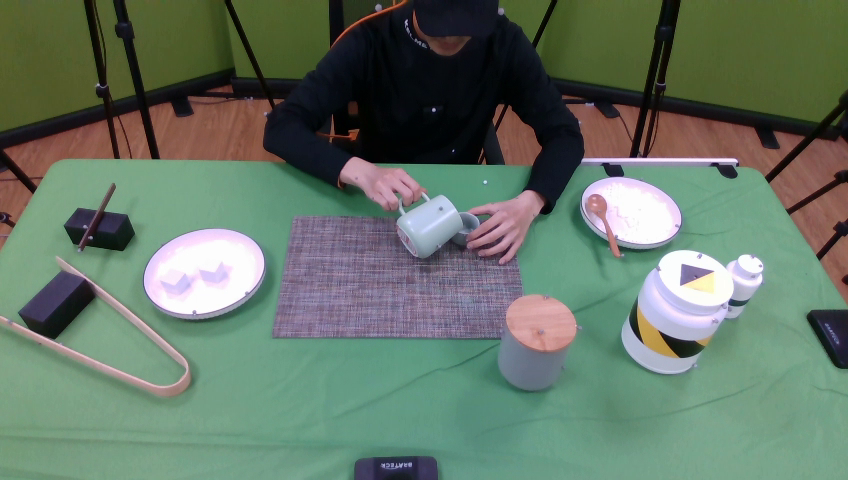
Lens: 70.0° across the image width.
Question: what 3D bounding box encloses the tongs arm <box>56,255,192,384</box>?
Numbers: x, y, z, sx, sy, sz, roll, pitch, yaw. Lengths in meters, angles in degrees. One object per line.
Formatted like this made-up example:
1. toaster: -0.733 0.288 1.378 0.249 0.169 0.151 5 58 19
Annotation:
1. tongs arm: -0.517 0.126 1.033 0.386 0.028 0.028 30 43 23

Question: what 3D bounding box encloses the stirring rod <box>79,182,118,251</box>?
1. stirring rod: -0.605 -0.047 1.130 0.006 0.014 0.175 0 47 1

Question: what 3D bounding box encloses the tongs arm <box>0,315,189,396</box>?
1. tongs arm: -0.555 0.170 0.981 0.384 0.026 0.050 21 43 14

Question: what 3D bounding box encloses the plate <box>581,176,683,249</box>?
1. plate: 0.430 -0.054 1.267 0.209 0.038 0.208 2 46 -2

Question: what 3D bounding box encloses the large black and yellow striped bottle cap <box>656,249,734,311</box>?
1. large black and yellow striped bottle cap: 0.419 0.061 0.938 0.115 0.019 0.114 2 47 -2

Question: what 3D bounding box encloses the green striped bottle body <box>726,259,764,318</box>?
1. green striped bottle body: 0.563 0.081 1.089 0.063 0.120 0.063 2 46 -2

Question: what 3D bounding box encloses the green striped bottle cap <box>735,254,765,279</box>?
1. green striped bottle cap: 0.566 0.046 1.051 0.044 0.020 0.044 0 45 0

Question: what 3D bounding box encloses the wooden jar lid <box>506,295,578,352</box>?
1. wooden jar lid: 0.179 0.130 0.925 0.108 0.021 0.107 2 43 -2

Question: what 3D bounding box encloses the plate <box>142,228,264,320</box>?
1. plate: -0.394 0.064 1.095 0.208 0.039 0.206 2 46 -2

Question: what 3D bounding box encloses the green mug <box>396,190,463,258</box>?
1. green mug: -0.001 -0.038 1.141 0.105 0.093 0.125 -35 75 -13

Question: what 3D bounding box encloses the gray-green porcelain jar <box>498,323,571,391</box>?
1. gray-green porcelain jar: 0.176 0.172 0.971 0.106 0.127 0.105 2 46 -2

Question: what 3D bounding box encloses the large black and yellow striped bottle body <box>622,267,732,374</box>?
1. large black and yellow striped bottle body: 0.415 0.119 0.997 0.131 0.185 0.130 2 46 -2

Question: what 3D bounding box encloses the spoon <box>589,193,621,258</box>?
1. spoon: 0.367 -0.032 1.220 0.041 0.022 0.192 2 38 -1

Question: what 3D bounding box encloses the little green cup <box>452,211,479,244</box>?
1. little green cup: 0.080 -0.023 1.205 0.061 0.039 0.061 -2 51 3
